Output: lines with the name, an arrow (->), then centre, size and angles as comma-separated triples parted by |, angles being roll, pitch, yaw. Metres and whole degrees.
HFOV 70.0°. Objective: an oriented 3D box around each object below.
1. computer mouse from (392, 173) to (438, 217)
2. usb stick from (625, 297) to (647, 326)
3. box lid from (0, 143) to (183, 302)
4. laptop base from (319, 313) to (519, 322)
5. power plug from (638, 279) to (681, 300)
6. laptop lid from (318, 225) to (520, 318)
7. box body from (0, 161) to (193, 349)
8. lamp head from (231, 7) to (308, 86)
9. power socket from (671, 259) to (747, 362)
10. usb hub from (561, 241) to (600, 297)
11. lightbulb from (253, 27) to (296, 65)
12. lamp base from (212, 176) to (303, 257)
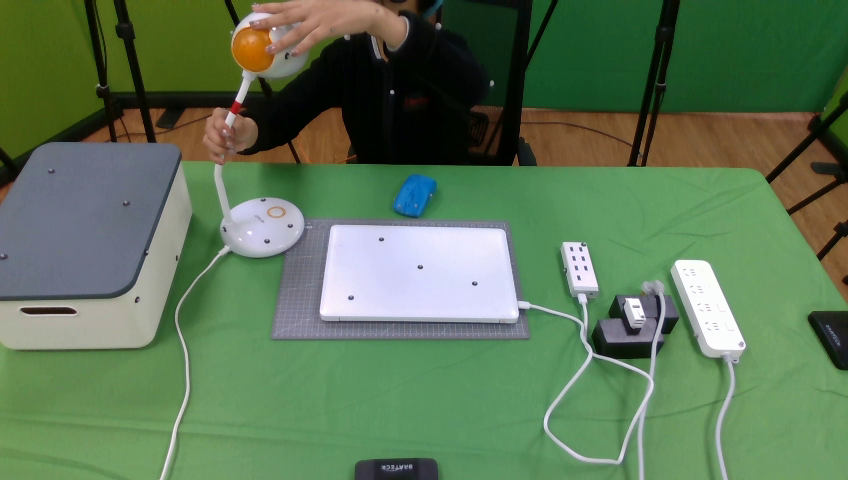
computer mouse -> -0.018, -0.098, 1.282 | 0.062, 0.041, 0.117 | 20, 51, 13
usb stick -> 0.360, 0.116, 1.034 | 0.021, 0.027, 0.059 | -2, 44, -2
box lid -> -0.567, -0.045, 0.999 | 0.263, 0.015, 0.369 | -1, 45, -4
laptop base -> -0.009, 0.063, 1.137 | 0.354, 0.023, 0.234 | 1, 42, -3
power plug -> 0.434, 0.099, 1.119 | 0.073, 0.053, 0.035 | 34, 38, -15
laptop lid -> -0.009, 0.052, 1.131 | 0.357, 0.013, 0.240 | 2, 43, -2
box body -> -0.570, 0.006, 1.054 | 0.254, 0.161, 0.361 | -1, 46, -4
lamp head -> -0.254, -0.301, 0.955 | 0.112, 0.113, 0.122 | 9, 29, 5
power socket -> 0.516, 0.119, 1.108 | 0.072, 0.033, 0.225 | 1, 46, -2
usb hub -> 0.300, 0.055, 1.162 | 0.049, 0.025, 0.124 | 3, 46, -3
lightbulb -> -0.244, -0.312, 0.975 | 0.059, 0.059, 0.107 | 10, 19, 6
lamp base -> -0.324, -0.073, 1.133 | 0.160, 0.181, 0.179 | 29, 55, 23
